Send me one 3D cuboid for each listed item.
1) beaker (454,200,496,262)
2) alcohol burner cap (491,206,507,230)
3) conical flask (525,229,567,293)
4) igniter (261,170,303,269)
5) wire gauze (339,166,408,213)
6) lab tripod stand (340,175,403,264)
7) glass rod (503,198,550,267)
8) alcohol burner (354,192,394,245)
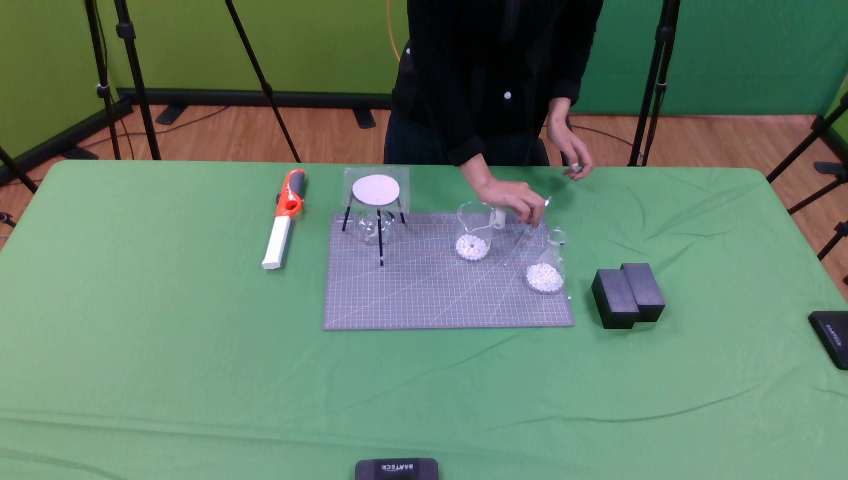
[{"bbox_3d":[0.094,-0.012,1.162,0.074,0.101,0.083,17,48,12],"label":"beaker"},{"bbox_3d":[0.154,-0.047,1.240,0.034,0.048,0.033,-1,48,1],"label":"alcohol burner cap"},{"bbox_3d":[0.231,0.036,1.110,0.075,0.122,0.075,2,46,-2],"label":"conical flask"},{"bbox_3d":[-0.283,-0.050,1.222,0.057,0.025,0.275,-5,45,7],"label":"igniter"},{"bbox_3d":[-0.091,-0.096,1.110,0.125,0.011,0.120,2,45,-3],"label":"wire gauze"},{"bbox_3d":[-0.093,-0.050,1.160,0.148,0.132,0.147,2,44,-2],"label":"lab tripod stand"},{"bbox_3d":[0.209,-0.017,1.220,0.008,0.008,0.199,26,59,20],"label":"glass rod"},{"bbox_3d":[-0.096,-0.048,1.171,0.078,0.119,0.077,4,45,-4],"label":"alcohol burner"}]
